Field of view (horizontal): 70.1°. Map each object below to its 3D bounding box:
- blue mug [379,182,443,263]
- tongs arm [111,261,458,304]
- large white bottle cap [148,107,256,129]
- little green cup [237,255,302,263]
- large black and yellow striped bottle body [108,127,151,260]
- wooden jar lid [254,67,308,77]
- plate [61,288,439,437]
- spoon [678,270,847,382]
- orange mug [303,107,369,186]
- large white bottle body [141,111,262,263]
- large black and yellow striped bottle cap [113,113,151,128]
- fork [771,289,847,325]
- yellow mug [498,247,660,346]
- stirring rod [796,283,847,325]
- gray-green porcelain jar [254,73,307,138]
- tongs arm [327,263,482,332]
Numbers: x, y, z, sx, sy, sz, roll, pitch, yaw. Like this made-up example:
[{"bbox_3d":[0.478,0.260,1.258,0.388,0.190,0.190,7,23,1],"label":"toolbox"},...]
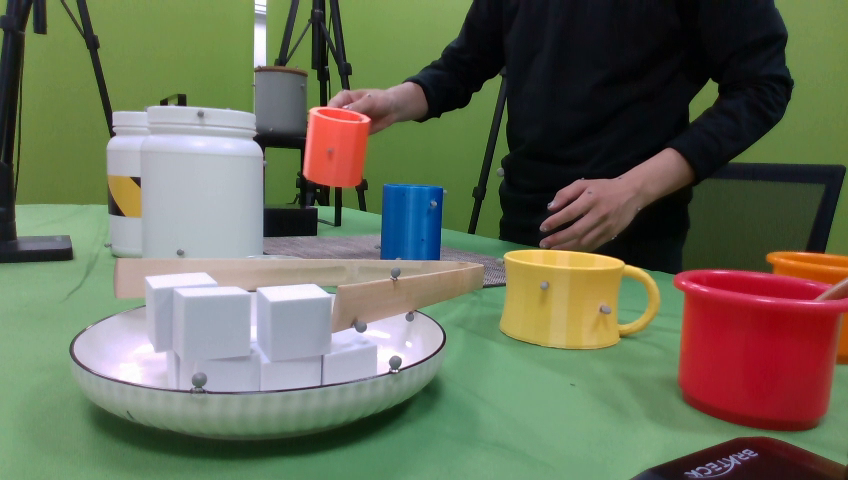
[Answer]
[{"bbox_3d":[-0.020,-0.026,0.833,0.082,0.106,0.116,1,7,-7],"label":"blue mug"},{"bbox_3d":[-0.080,0.032,0.527,0.028,0.027,0.389,-3,-3,33],"label":"tongs arm"},{"bbox_3d":[-0.250,-0.137,0.686,0.115,0.018,0.115,3,8,0],"label":"large white bottle cap"},{"bbox_3d":[-0.150,0.038,0.590,0.061,0.038,0.061,3,6,0],"label":"little green cup"},{"bbox_3d":[-0.350,-0.071,0.812,0.131,0.184,0.130,2,8,0],"label":"large black and yellow striped bottle body"},{"bbox_3d":[-0.296,-0.339,1.251,0.108,0.020,0.108,2,7,0],"label":"wooden jar lid"},{"bbox_3d":[-0.095,0.069,0.362,0.208,0.039,0.207,3,7,0],"label":"plate"},{"bbox_3d":[0.229,0.031,0.338,0.193,0.021,0.042,-44,-17,27],"label":"spoon"},{"bbox_3d":[-0.127,-0.145,0.901,0.083,0.101,0.126,11,26,1],"label":"orange mug"},{"bbox_3d":[-0.254,-0.053,0.697,0.131,0.184,0.130,2,7,0],"label":"large white bottle body"},{"bbox_3d":[-0.348,-0.154,0.800,0.115,0.019,0.115,2,6,0],"label":"large black and yellow striped bottle cap"},{"bbox_3d":[0.335,0.018,0.443,0.028,0.018,0.207,-1,-36,-20],"label":"fork"},{"bbox_3d":[0.130,0.045,0.508,0.131,0.064,0.100,4,7,6],"label":"yellow mug"},{"bbox_3d":[0.347,0.019,0.460,0.014,0.176,0.006,-17,59,-26],"label":"stirring rod"},{"bbox_3d":[-0.298,-0.277,1.259,0.106,0.126,0.106,3,8,0],"label":"gray-green porcelain jar"},{"bbox_3d":[-0.003,0.036,0.493,0.050,0.026,0.386,1,-1,19],"label":"tongs arm"}]
